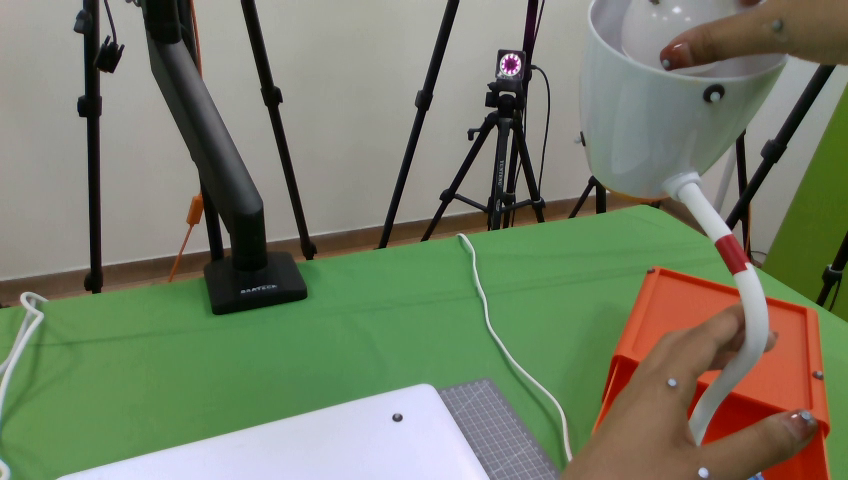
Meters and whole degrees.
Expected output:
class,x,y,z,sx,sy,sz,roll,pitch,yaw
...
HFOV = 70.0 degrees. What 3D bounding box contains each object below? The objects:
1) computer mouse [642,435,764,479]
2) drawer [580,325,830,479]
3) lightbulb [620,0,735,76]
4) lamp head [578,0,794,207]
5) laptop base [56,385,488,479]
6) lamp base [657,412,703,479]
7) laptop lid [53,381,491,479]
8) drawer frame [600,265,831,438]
class,x,y,z,sx,sy,sz,roll,pitch,yaw
computer mouse,0.253,0.217,0.548,0.117,0.041,0.062,15,30,14
drawer,0.275,0.178,0.593,0.193,0.074,0.211,14,30,21
lightbulb,0.142,-0.103,0.357,0.059,0.108,0.059,-1,48,2
lamp head,0.148,-0.081,0.374,0.112,0.124,0.111,-1,44,2
laptop base,-0.110,0.240,0.493,0.355,0.023,0.233,-9,35,-22
lamp base,0.168,0.217,0.395,0.161,0.181,0.177,1,27,-8
laptop lid,-0.109,0.230,0.485,0.358,0.013,0.239,-8,33,-21
drawer frame,0.324,0.130,0.680,0.200,0.083,0.213,16,30,22
